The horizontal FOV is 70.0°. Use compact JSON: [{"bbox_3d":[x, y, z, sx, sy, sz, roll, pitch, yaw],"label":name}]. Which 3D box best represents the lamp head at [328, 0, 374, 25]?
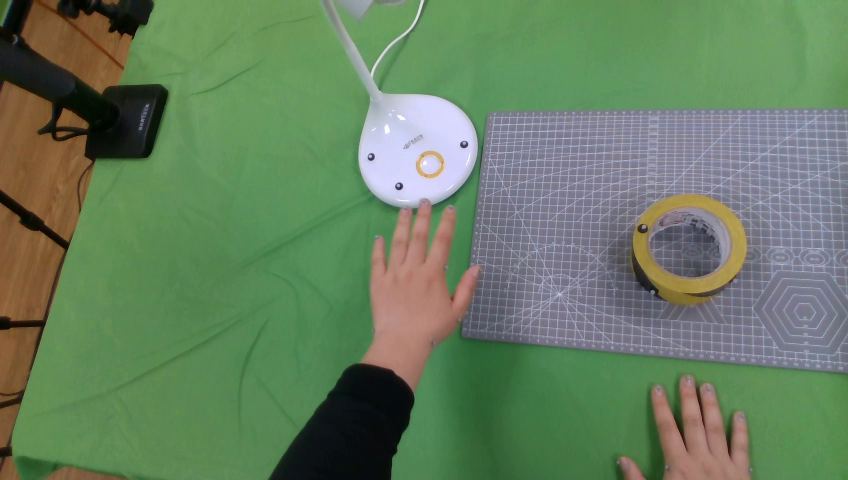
[{"bbox_3d":[-0.064,-0.237,0.440,0.123,0.112,0.112,34,81,-12],"label":"lamp head"}]

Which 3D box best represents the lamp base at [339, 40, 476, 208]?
[{"bbox_3d":[-0.039,-0.148,0.724,0.160,0.182,0.177,-45,64,-3],"label":"lamp base"}]

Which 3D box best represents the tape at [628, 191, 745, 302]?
[{"bbox_3d":[0.280,0.007,0.654,0.116,0.053,0.116,-4,71,13],"label":"tape"}]
